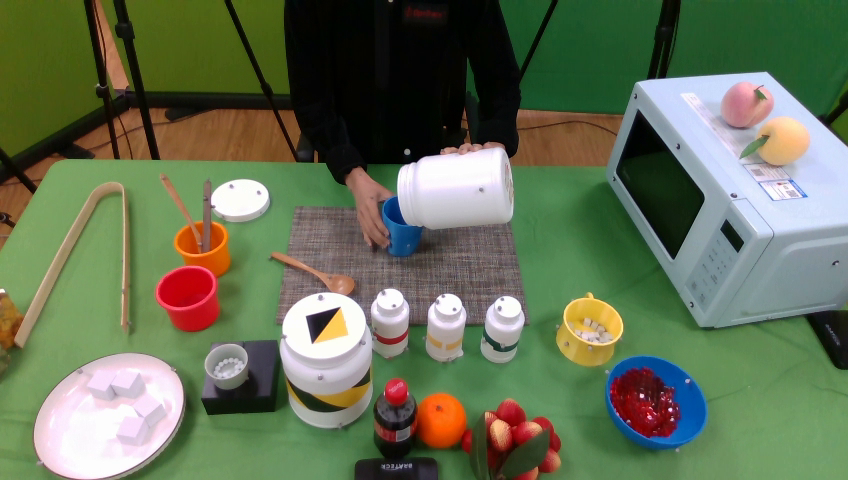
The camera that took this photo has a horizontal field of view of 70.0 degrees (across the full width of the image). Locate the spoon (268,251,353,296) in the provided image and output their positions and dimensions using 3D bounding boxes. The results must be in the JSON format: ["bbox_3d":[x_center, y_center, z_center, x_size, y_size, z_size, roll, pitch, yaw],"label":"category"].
[{"bbox_3d":[-0.212,0.057,1.121,0.193,0.022,0.041,24,74,18],"label":"spoon"}]

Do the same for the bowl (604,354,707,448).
[{"bbox_3d":[0.346,0.261,0.937,0.151,0.077,0.150,2,46,-2],"label":"bowl"}]

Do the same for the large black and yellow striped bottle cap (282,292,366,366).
[{"bbox_3d":[-0.138,0.121,0.841,0.115,0.019,0.114,3,47,-3],"label":"large black and yellow striped bottle cap"}]

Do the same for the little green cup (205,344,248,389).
[{"bbox_3d":[-0.294,0.191,0.909,0.061,0.039,0.061,2,48,-2],"label":"little green cup"}]

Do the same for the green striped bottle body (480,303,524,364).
[{"bbox_3d":[0.129,0.147,1.000,0.063,0.120,0.063,2,46,-2],"label":"green striped bottle body"}]

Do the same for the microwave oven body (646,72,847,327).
[{"bbox_3d":[0.607,-0.089,1.164,0.326,0.261,0.438,-7,46,-10],"label":"microwave oven body"}]

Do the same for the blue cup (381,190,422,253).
[{"bbox_3d":[-0.045,-0.027,1.158,0.093,0.100,0.092,6,54,-7],"label":"blue cup"}]

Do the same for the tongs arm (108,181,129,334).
[{"bbox_3d":[-0.571,0.019,1.123,0.051,0.026,0.382,-11,47,-12],"label":"tongs arm"}]

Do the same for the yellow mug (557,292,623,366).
[{"bbox_3d":[0.285,0.145,1.051,0.100,0.064,0.130,7,46,4],"label":"yellow mug"}]

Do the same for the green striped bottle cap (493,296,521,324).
[{"bbox_3d":[0.133,0.111,0.962,0.044,0.020,0.044,2,47,-1],"label":"green striped bottle cap"}]

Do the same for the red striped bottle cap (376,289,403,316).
[{"bbox_3d":[-0.055,0.098,0.958,0.044,0.018,0.044,0,47,1],"label":"red striped bottle cap"}]

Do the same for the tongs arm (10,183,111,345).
[{"bbox_3d":[-0.658,0.027,1.109,0.028,0.028,0.385,-2,45,2],"label":"tongs arm"}]

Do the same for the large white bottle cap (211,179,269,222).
[{"bbox_3d":[-0.380,-0.082,1.250,0.115,0.018,0.114,2,47,-2],"label":"large white bottle cap"}]

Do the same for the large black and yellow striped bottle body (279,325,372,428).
[{"bbox_3d":[-0.143,0.181,0.900,0.131,0.185,0.130,2,46,-2],"label":"large black and yellow striped bottle body"}]

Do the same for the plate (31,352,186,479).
[{"bbox_3d":[-0.459,0.262,0.898,0.209,0.038,0.208,2,46,-2],"label":"plate"}]

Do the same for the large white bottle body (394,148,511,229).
[{"bbox_3d":[0.052,-0.087,1.053,0.184,0.131,0.130,-3,44,15],"label":"large white bottle body"}]

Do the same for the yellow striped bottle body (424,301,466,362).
[{"bbox_3d":[0.035,0.143,0.995,0.063,0.121,0.062,3,46,-3],"label":"yellow striped bottle body"}]

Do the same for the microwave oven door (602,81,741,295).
[{"bbox_3d":[0.456,-0.107,1.162,0.039,0.245,0.353,-7,47,-11],"label":"microwave oven door"}]

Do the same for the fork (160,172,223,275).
[{"bbox_3d":[-0.425,-0.030,1.103,0.028,0.018,0.207,-28,98,-12],"label":"fork"}]

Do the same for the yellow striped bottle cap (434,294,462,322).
[{"bbox_3d":[0.038,0.107,0.958,0.044,0.019,0.044,2,45,-2],"label":"yellow striped bottle cap"}]

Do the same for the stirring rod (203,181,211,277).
[{"bbox_3d":[-0.396,-0.021,1.107,0.014,0.006,0.176,-1,89,-1],"label":"stirring rod"}]

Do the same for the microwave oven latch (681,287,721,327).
[{"bbox_3d":[0.494,0.119,1.087,0.030,0.029,0.078,-6,46,-9],"label":"microwave oven latch"}]

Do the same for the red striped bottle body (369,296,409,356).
[{"bbox_3d":[-0.059,0.135,0.997,0.063,0.120,0.062,5,48,-6],"label":"red striped bottle body"}]
